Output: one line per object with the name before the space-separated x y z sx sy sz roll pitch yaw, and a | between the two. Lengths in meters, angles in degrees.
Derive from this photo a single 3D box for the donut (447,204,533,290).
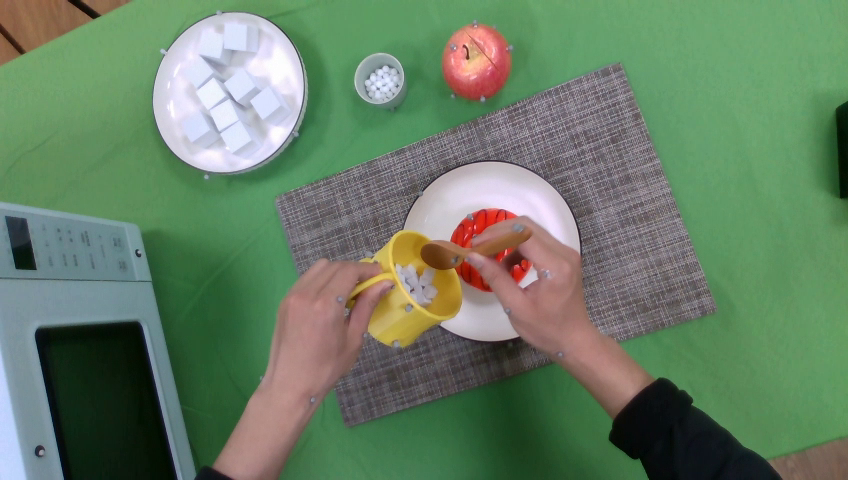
donut | 0.074 0.008 0.686 0.099 0.048 0.099 0 89 12

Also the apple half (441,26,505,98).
apple half | 0.050 -0.197 0.701 0.053 0.075 0.080 -40 84 11

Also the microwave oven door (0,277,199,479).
microwave oven door | -0.339 0.213 0.647 0.039 0.244 0.354 -17 83 9

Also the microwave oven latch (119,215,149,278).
microwave oven latch | -0.376 0.009 0.769 0.030 0.029 0.079 -15 85 9

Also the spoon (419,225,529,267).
spoon | 0.041 0.007 0.531 0.042 0.193 0.021 35 76 -14

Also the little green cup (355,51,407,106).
little green cup | -0.050 -0.193 0.737 0.061 0.039 0.061 -1 86 12

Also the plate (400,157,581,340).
plate | 0.074 0.009 0.698 0.209 0.038 0.208 -1 87 11

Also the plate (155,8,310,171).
plate | -0.240 -0.188 0.773 0.207 0.039 0.207 -1 86 11

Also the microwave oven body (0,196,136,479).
microwave oven body | -0.487 0.214 0.681 0.326 0.261 0.440 -17 84 9

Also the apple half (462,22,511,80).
apple half | 0.079 -0.222 0.695 0.033 0.081 0.081 -41 80 10

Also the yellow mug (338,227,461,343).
yellow mug | -0.029 0.045 0.589 0.064 0.131 0.099 -35 70 33
